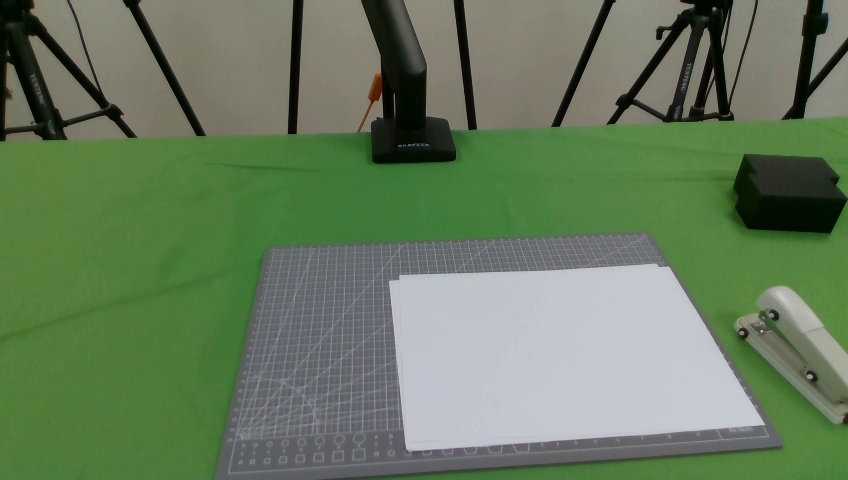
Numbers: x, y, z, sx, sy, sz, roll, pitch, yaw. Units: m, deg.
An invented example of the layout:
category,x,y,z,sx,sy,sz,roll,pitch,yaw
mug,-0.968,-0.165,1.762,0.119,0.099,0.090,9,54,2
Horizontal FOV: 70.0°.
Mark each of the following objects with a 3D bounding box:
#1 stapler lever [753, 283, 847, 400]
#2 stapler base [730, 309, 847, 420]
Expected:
category,x,y,z,sx,sy,sz,roll,pitch,yaw
stapler lever,0.342,0.085,0.538,0.027,0.040,0.116,-14,41,-15
stapler base,0.341,0.104,0.554,0.041,0.024,0.129,-13,41,-15
